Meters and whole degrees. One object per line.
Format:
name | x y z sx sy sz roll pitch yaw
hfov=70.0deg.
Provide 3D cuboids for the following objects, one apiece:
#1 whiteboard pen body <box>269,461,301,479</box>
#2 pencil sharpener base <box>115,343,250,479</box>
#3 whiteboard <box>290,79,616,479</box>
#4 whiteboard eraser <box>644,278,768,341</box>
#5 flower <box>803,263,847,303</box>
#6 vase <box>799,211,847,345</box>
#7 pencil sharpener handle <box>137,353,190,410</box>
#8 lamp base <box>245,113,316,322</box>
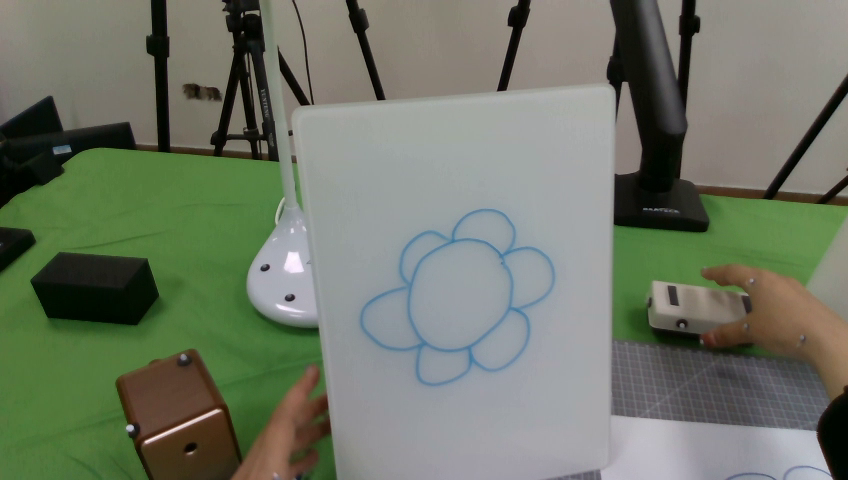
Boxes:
whiteboard pen body | -0.139 0.211 0.432 0.017 0.017 0.140 19 36 25
pencil sharpener base | -0.180 0.143 0.456 0.061 0.108 0.076 -21 40 -27
whiteboard | 0.022 0.032 0.495 0.217 0.307 0.143 -6 17 -8
whiteboard eraser | 0.285 0.073 0.621 0.112 0.042 0.055 7 35 9
flower | 0.449 -0.049 0.516 0.044 0.364 0.038 -8 53 -22
vase | 0.441 0.009 0.577 0.098 0.201 0.097 1 36 -1
pencil sharpener handle | -0.207 0.108 0.484 0.036 0.068 0.030 -28 43 -22
lamp base | -0.125 -0.033 0.642 0.161 0.182 0.177 -25 40 -31
